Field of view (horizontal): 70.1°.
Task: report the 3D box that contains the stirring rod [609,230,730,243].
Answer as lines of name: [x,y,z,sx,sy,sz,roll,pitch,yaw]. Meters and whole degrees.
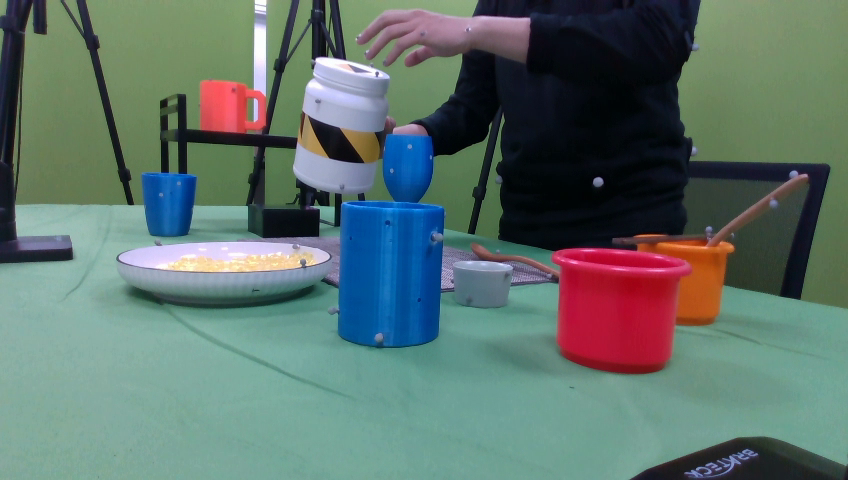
stirring rod: [0.241,-0.004,0.582,0.177,0.006,0.014,-3,10,-33]

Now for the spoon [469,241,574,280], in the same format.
spoon: [0.124,0.025,0.800,0.042,0.021,0.192,23,-6,-34]

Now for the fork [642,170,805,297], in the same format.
fork: [0.261,0.003,0.545,0.028,0.018,0.207,5,-37,-16]

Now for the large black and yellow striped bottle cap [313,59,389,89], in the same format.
large black and yellow striped bottle cap: [-0.111,-0.255,0.925,0.115,0.019,0.115,11,22,-4]

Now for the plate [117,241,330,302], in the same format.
plate: [-0.203,0.031,0.630,0.209,0.038,0.209,3,7,0]

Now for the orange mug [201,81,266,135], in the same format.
orange mug: [-0.377,-0.260,1.198,0.126,0.101,0.083,-3,8,-6]

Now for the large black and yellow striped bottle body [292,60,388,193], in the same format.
large black and yellow striped bottle body: [-0.131,-0.180,0.958,0.131,0.184,0.130,13,22,-5]

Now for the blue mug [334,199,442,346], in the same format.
blue mug: [-0.034,0.020,0.498,0.083,0.106,0.116,0,7,-20]

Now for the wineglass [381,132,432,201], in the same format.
wineglass: [-0.026,-0.062,0.841,0.074,0.172,0.073,2,7,0]

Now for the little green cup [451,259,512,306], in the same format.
little green cup: [0.057,0.043,0.612,0.061,0.038,0.061,3,8,0]

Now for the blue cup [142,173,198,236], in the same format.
blue cup: [-0.425,-0.060,1.014,0.093,0.100,0.092,4,9,0]
